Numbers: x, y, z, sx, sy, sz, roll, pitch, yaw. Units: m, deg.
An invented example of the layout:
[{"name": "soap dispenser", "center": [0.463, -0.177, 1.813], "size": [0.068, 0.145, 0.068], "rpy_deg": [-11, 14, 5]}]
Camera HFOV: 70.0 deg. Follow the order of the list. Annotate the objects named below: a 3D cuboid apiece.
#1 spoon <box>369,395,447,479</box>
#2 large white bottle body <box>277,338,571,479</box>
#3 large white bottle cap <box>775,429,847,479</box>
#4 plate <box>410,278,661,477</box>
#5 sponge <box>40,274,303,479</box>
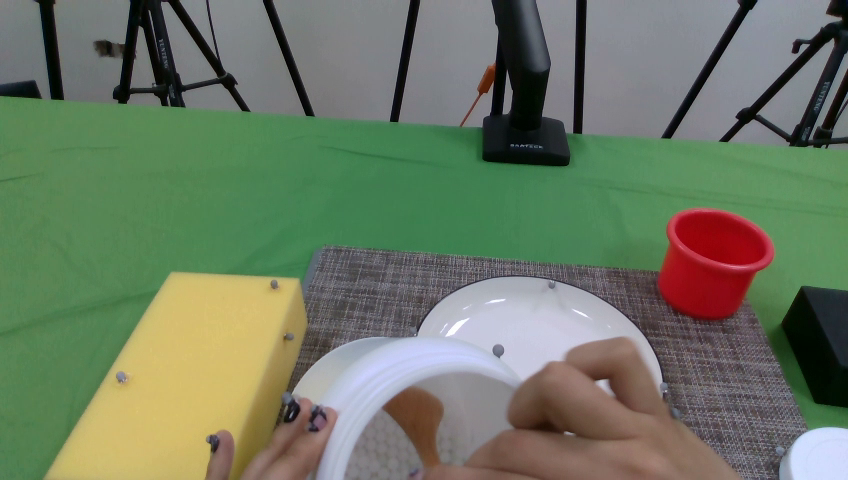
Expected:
[{"name": "spoon", "center": [0.006, 0.103, 0.271], "size": [0.042, 0.021, 0.193], "rpy_deg": [8, 4, -13]}, {"name": "large white bottle body", "center": [-0.011, 0.120, 0.334], "size": [0.131, 0.184, 0.130], "rpy_deg": [3, 80, -16]}, {"name": "large white bottle cap", "center": [0.322, 0.192, 0.446], "size": [0.115, 0.018, 0.113], "rpy_deg": [4, 38, -3]}, {"name": "plate", "center": [0.090, 0.113, 0.515], "size": [0.209, 0.038, 0.207], "rpy_deg": [2, 37, -1]}, {"name": "sponge", "center": [-0.179, 0.117, 0.477], "size": [0.118, 0.061, 0.205], "rpy_deg": [2, 37, 3]}]
